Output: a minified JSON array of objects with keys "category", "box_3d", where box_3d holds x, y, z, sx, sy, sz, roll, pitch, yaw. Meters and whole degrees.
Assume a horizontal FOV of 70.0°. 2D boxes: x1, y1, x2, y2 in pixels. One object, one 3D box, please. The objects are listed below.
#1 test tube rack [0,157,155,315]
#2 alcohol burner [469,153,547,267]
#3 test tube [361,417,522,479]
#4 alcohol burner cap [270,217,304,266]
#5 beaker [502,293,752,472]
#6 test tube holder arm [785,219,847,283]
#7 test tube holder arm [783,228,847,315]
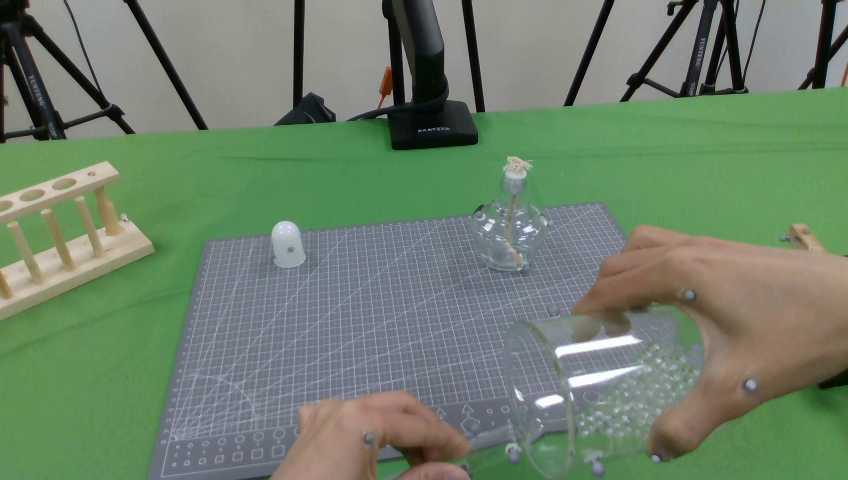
[{"category":"test tube rack","box_3d":[-0.397,0.011,0.574,0.242,0.086,0.066,-29,46,-32]},{"category":"alcohol burner","box_3d":[0.084,-0.033,0.593,0.078,0.120,0.077,1,38,0]},{"category":"test tube","box_3d":[-0.015,0.132,0.332,0.150,0.017,0.017,-29,35,16]},{"category":"alcohol burner cap","box_3d":[-0.141,-0.001,0.616,0.034,0.048,0.033,-1,37,1]},{"category":"beaker","box_3d":[0.098,0.068,0.300,0.100,0.084,0.073,-7,51,-13]},{"category":"test tube holder arm","box_3d":[0.342,0.011,0.526,0.015,0.010,0.087,1,38,1]},{"category":"test tube holder arm","box_3d":[0.341,0.042,0.494,0.015,0.013,0.176,0,37,1]}]
